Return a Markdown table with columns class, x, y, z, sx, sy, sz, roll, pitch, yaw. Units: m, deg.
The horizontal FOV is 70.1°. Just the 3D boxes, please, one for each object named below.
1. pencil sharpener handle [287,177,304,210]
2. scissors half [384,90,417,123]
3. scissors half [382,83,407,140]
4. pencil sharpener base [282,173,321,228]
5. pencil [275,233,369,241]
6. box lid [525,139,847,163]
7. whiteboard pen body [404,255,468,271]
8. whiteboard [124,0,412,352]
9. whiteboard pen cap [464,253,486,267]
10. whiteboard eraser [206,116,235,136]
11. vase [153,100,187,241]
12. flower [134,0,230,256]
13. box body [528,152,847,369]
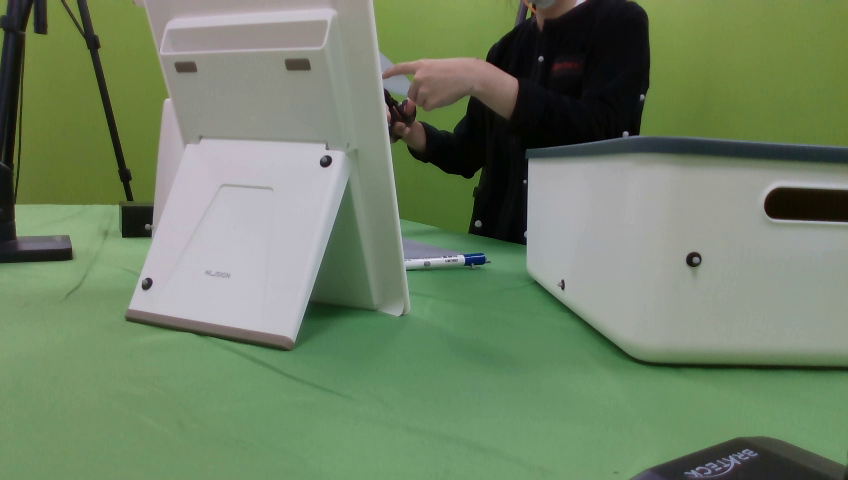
| class | x | y | z | sx | sy | sz | roll | pitch | yaw |
| --- | --- | --- | --- | --- | --- | --- | --- | --- | --- |
| pencil sharpener handle | -0.269 | -0.096 | 1.257 | 0.036 | 0.067 | 0.030 | -8 | 8 | -27 |
| scissors half | -0.051 | -0.252 | 1.083 | 0.013 | 0.040 | 0.176 | 24 | 3 | 24 |
| scissors half | -0.062 | -0.234 | 1.081 | 0.012 | 0.040 | 0.175 | 30 | -17 | 25 |
| pencil sharpener base | -0.247 | -0.080 | 1.212 | 0.061 | 0.107 | 0.076 | -2 | 5 | -28 |
| pencil | -0.169 | -0.006 | 1.036 | 0.195 | 0.012 | 0.012 | -2 | 9 | -45 |
| box lid | 0.261 | -0.078 | 0.580 | 0.264 | 0.015 | 0.371 | 2 | 7 | -4 |
| whiteboard pen body | 0.012 | 0.030 | 0.792 | 0.141 | 0.017 | 0.017 | -3 | 9 | -24 |
| whiteboard | -0.151 | -0.049 | 0.472 | 0.216 | 0.305 | 0.144 | 6 | 27 | 24 |
| whiteboard pen cap | 0.066 | 0.027 | 0.818 | 0.033 | 0.018 | 0.018 | -6 | 10 | -24 |
| whiteboard eraser | -0.450 | -0.252 | 1.335 | 0.056 | 0.042 | 0.112 | 1 | 7 | -22 |
| vase | -0.278 | -0.066 | 0.736 | 0.098 | 0.200 | 0.098 | 2 | 9 | 0 |
| flower | -0.282 | -0.147 | 0.713 | 0.038 | 0.362 | 0.044 | -23 | 24 | -31 |
| box body | 0.257 | -0.005 | 0.591 | 0.254 | 0.160 | 0.363 | 2 | 7 | -4 |
